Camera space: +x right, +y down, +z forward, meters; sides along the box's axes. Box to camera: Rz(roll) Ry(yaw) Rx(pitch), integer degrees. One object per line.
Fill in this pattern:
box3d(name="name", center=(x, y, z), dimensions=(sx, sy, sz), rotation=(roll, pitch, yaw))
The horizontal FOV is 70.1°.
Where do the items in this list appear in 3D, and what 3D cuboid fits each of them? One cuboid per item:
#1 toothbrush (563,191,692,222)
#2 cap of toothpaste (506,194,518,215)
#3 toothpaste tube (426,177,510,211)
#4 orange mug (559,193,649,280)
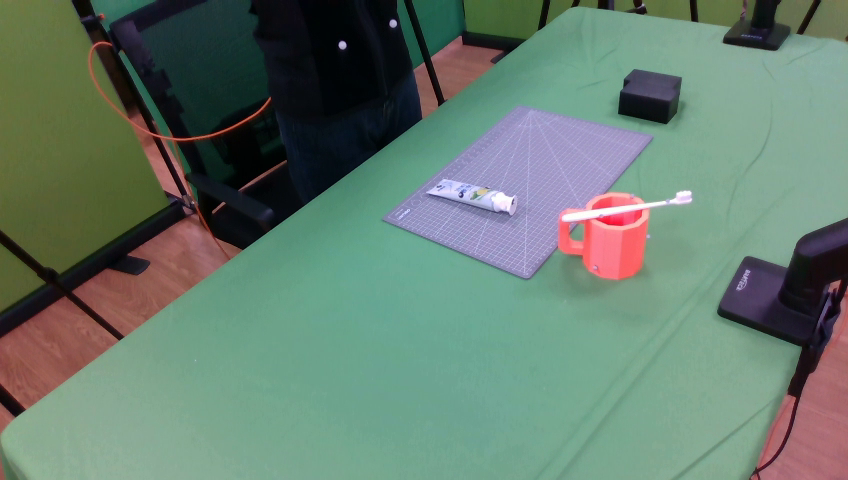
box3d(name="toothbrush", center=(0.284, -0.045, 0.842), dimensions=(0.182, 0.017, 0.014), rotation=(-9, 43, 0))
box3d(name="cap of toothpaste", center=(0.146, -0.060, 1.007), dimensions=(0.011, 0.037, 0.037), rotation=(14, 46, 22))
box3d(name="toothpaste tube", center=(0.083, -0.081, 1.054), dimensions=(0.164, 0.034, 0.055), rotation=(18, 40, 34))
box3d(name="orange mug", center=(0.261, -0.008, 0.884), dimensions=(0.126, 0.101, 0.083), rotation=(9, 43, 14))
